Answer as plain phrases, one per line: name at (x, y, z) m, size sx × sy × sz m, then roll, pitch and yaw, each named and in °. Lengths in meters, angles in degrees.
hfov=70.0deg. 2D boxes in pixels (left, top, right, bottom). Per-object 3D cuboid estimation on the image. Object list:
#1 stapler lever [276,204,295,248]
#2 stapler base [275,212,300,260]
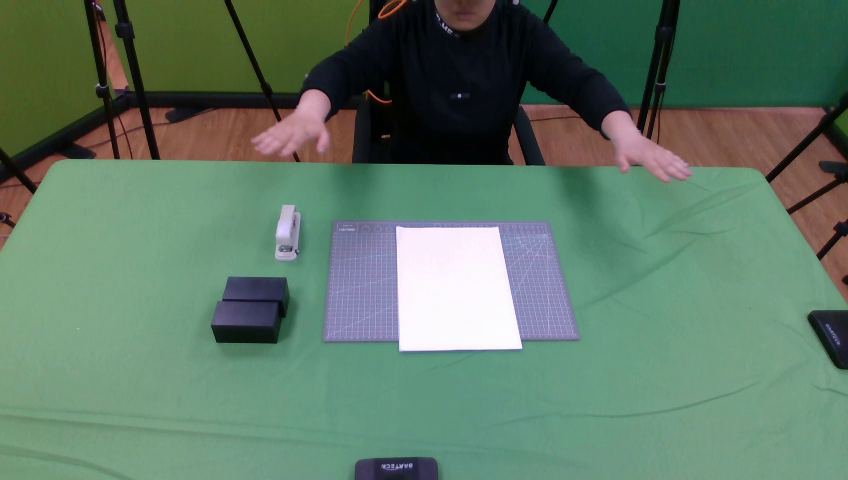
stapler lever at (-0.268, -0.034, 1.174) m, size 0.027 × 0.040 × 0.117 m, roll 0°, pitch 45°, yaw -7°
stapler base at (-0.269, -0.016, 1.190) m, size 0.041 × 0.024 × 0.129 m, roll 0°, pitch 44°, yaw -7°
